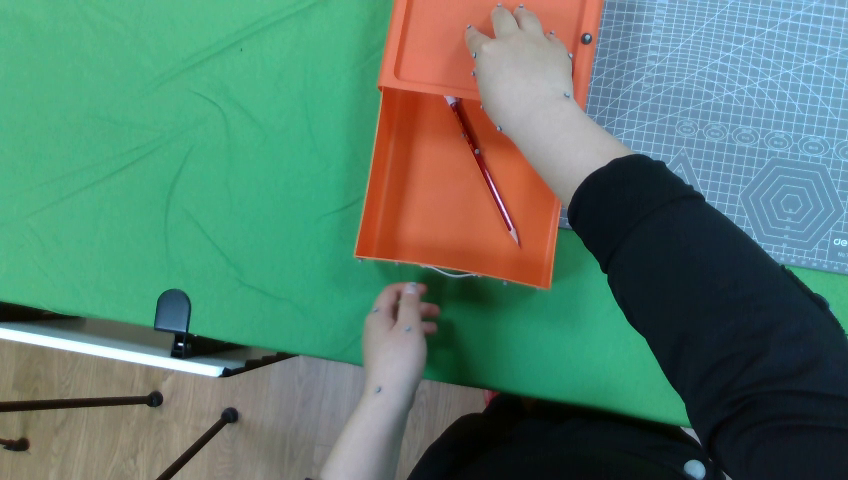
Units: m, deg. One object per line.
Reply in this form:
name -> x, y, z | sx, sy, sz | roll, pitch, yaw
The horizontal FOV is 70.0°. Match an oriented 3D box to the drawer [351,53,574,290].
drawer -> 0.042, -0.067, 0.607 | 0.194, 0.073, 0.211 | 9, 91, 10

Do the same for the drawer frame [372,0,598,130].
drawer frame -> 0.068, -0.229, 0.607 | 0.201, 0.083, 0.213 | 9, 88, 9

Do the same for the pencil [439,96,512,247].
pencil -> 0.053, -0.082, 0.633 | 0.012, 0.012, 0.193 | -24, 86, 7
